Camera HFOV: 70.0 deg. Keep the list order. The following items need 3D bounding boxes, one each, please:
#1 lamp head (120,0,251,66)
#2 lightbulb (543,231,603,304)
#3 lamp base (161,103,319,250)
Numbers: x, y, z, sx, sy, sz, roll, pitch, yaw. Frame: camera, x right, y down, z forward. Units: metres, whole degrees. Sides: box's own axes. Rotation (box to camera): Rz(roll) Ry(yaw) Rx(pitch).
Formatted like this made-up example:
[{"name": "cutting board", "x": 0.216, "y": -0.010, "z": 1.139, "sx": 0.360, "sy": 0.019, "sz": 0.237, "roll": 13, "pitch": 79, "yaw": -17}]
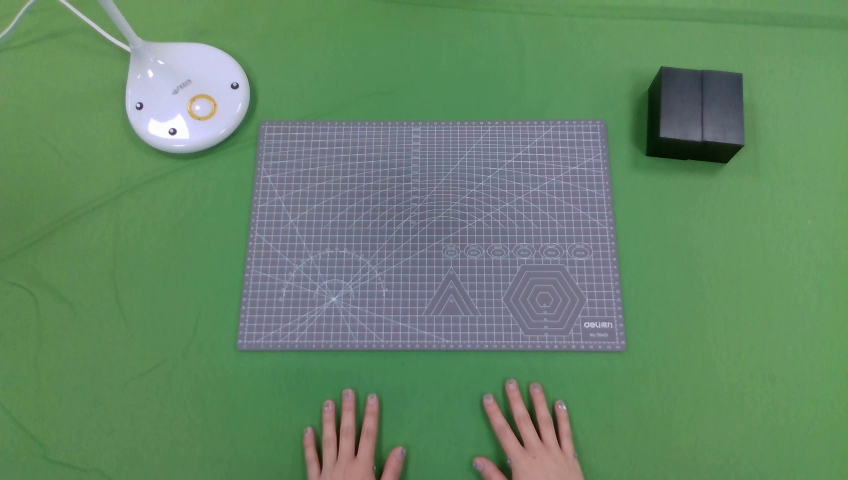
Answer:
[{"name": "lamp head", "x": -0.200, "y": -0.214, "z": 0.475, "sx": 0.124, "sy": 0.112, "sz": 0.111, "roll": 25, "pitch": 65, "yaw": -27}, {"name": "lightbulb", "x": 0.177, "y": 0.030, "z": 0.743, "sx": 0.059, "sy": 0.060, "sz": 0.106, "roll": -20, "pitch": 52, "yaw": -5}, {"name": "lamp base", "x": -0.236, "y": -0.094, "z": 0.742, "sx": 0.179, "sy": 0.181, "sz": 0.159, "roll": 12, "pitch": 68, "yaw": 10}]
